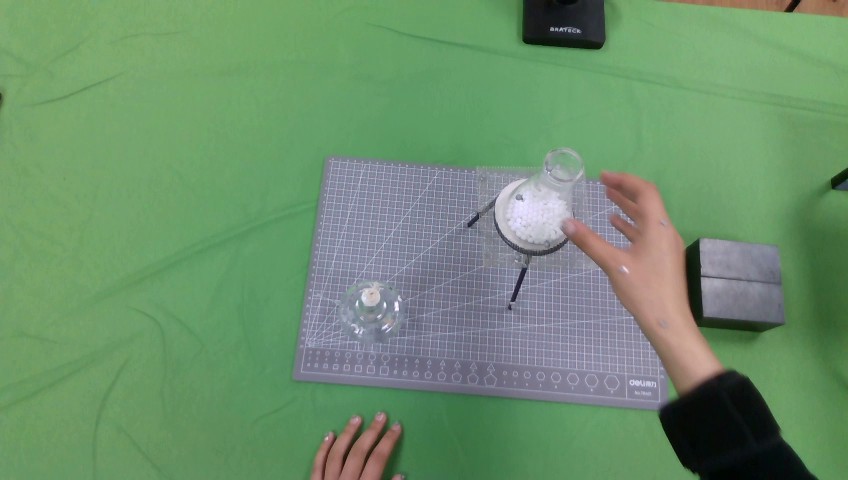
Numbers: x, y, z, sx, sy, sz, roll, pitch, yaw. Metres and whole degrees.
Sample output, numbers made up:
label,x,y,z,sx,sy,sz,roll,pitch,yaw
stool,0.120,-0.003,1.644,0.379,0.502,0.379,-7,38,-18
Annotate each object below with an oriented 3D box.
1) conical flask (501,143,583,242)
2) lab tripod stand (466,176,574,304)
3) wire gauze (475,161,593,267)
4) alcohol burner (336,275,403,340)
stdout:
label,x,y,z,sx,sy,sz,roll,pitch,yaw
conical flask,0.123,-0.051,0.601,0.075,0.122,0.075,1,70,-3
lab tripod stand,0.119,-0.011,0.719,0.148,0.132,0.147,1,69,-3
wire gauze,0.119,-0.030,0.657,0.125,0.011,0.120,1,73,-6
alcohol burner,-0.062,0.073,0.692,0.078,0.120,0.077,2,69,-4
